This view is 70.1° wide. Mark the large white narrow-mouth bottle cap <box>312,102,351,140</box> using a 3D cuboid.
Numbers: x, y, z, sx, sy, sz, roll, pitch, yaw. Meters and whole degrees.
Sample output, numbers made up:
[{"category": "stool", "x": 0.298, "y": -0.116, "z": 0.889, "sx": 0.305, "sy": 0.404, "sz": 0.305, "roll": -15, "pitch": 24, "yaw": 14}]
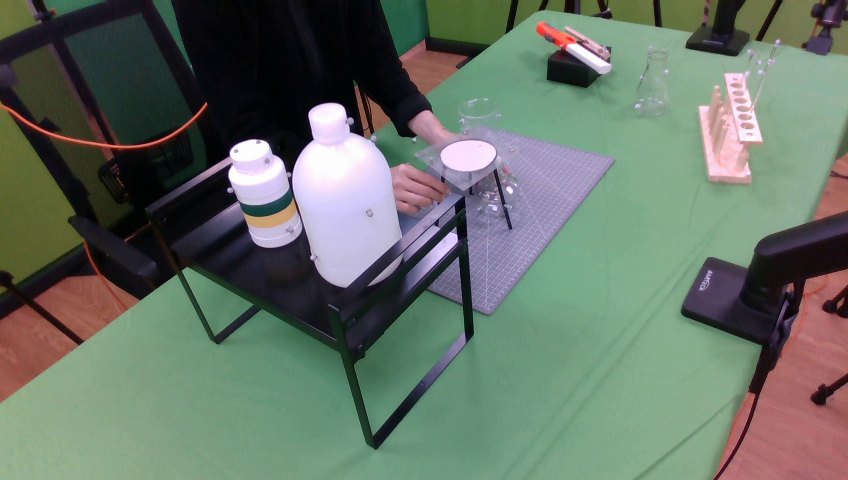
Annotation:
[{"category": "large white narrow-mouth bottle cap", "x": -0.089, "y": -0.114, "z": 0.579, "sx": 0.038, "sy": 0.024, "sz": 0.037, "roll": -3, "pitch": 39, "yaw": 3}]

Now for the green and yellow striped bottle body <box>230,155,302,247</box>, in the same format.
[{"category": "green and yellow striped bottle body", "x": -0.188, "y": -0.055, "z": 0.714, "sx": 0.063, "sy": 0.120, "sz": 0.063, "roll": -4, "pitch": 41, "yaw": 4}]

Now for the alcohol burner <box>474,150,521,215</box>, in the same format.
[{"category": "alcohol burner", "x": 0.121, "y": -0.100, "z": 1.002, "sx": 0.078, "sy": 0.119, "sz": 0.077, "roll": -4, "pitch": 43, "yaw": 4}]

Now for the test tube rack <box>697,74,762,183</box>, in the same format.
[{"category": "test tube rack", "x": 0.547, "y": -0.208, "z": 1.095, "sx": 0.066, "sy": 0.085, "sz": 0.242, "roll": 5, "pitch": 42, "yaw": 15}]

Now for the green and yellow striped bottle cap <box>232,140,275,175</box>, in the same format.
[{"category": "green and yellow striped bottle cap", "x": -0.192, "y": -0.094, "z": 0.680, "sx": 0.045, "sy": 0.020, "sz": 0.045, "roll": -5, "pitch": 39, "yaw": 5}]

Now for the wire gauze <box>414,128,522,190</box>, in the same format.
[{"category": "wire gauze", "x": 0.066, "y": -0.131, "z": 0.926, "sx": 0.122, "sy": 0.011, "sz": 0.124, "roll": -31, "pitch": 46, "yaw": -24}]

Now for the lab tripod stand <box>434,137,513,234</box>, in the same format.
[{"category": "lab tripod stand", "x": 0.074, "y": -0.086, "z": 0.976, "sx": 0.148, "sy": 0.132, "sz": 0.147, "roll": -4, "pitch": 43, "yaw": 4}]

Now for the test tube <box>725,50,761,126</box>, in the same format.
[{"category": "test tube", "x": 0.570, "y": -0.269, "z": 1.086, "sx": 0.017, "sy": 0.151, "sz": 0.017, "roll": -1, "pitch": 45, "yaw": 1}]

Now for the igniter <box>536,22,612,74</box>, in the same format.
[{"category": "igniter", "x": 0.330, "y": -0.439, "z": 1.366, "sx": 0.057, "sy": 0.025, "sz": 0.274, "roll": -11, "pitch": 41, "yaw": -20}]

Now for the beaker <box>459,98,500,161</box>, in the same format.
[{"category": "beaker", "x": 0.104, "y": -0.208, "z": 1.142, "sx": 0.074, "sy": 0.101, "sz": 0.083, "roll": -20, "pitch": 41, "yaw": -15}]

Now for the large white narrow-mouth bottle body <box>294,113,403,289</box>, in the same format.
[{"category": "large white narrow-mouth bottle body", "x": -0.082, "y": -0.047, "z": 0.634, "sx": 0.102, "sy": 0.195, "sz": 0.101, "roll": -4, "pitch": 40, "yaw": 3}]

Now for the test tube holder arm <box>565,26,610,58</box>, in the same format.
[{"category": "test tube holder arm", "x": 0.369, "y": -0.450, "z": 1.373, "sx": 0.013, "sy": 0.015, "sz": 0.177, "roll": -39, "pitch": 41, "yaw": 10}]

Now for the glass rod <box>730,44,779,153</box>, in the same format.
[{"category": "glass rod", "x": 0.555, "y": -0.233, "z": 1.020, "sx": 0.008, "sy": 0.200, "sz": 0.008, "roll": 2, "pitch": 40, "yaw": -1}]

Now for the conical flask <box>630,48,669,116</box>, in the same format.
[{"category": "conical flask", "x": 0.456, "y": -0.317, "z": 1.205, "sx": 0.075, "sy": 0.122, "sz": 0.075, "roll": -4, "pitch": 41, "yaw": 4}]

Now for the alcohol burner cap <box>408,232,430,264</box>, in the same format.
[{"category": "alcohol burner cap", "x": -0.010, "y": 0.010, "z": 0.947, "sx": 0.034, "sy": 0.048, "sz": 0.033, "roll": -4, "pitch": 40, "yaw": 4}]

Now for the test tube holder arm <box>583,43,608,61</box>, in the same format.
[{"category": "test tube holder arm", "x": 0.379, "y": -0.420, "z": 1.341, "sx": 0.010, "sy": 0.015, "sz": 0.087, "roll": -39, "pitch": 41, "yaw": 10}]
